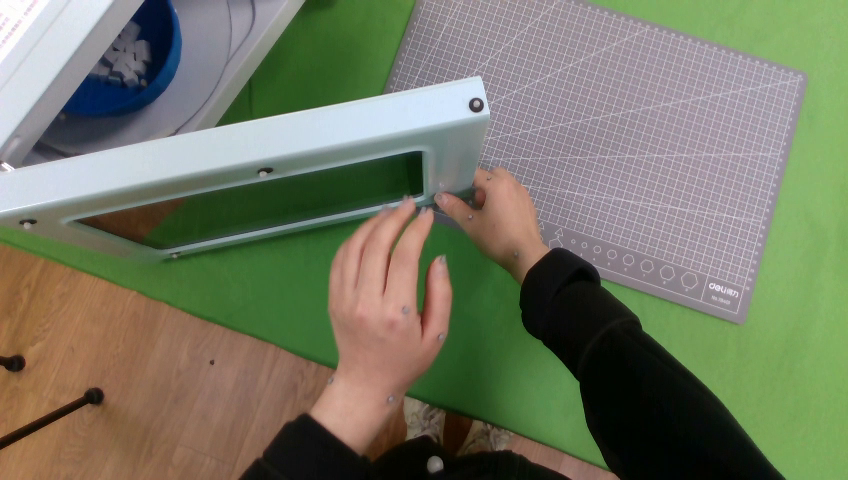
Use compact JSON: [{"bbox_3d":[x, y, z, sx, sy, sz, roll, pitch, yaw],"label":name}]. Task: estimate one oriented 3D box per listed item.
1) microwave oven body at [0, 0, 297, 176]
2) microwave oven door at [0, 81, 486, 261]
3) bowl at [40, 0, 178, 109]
[{"bbox_3d":[-0.303,-0.269,0.563,0.325,0.261,0.441,33,84,4],"label":"microwave oven body"},{"bbox_3d":[-0.130,-0.048,0.528,0.356,0.244,0.039,-12,81,-2],"label":"microwave oven door"},{"bbox_3d":[-0.301,-0.187,0.583,0.151,0.077,0.150,0,79,1],"label":"bowl"}]
